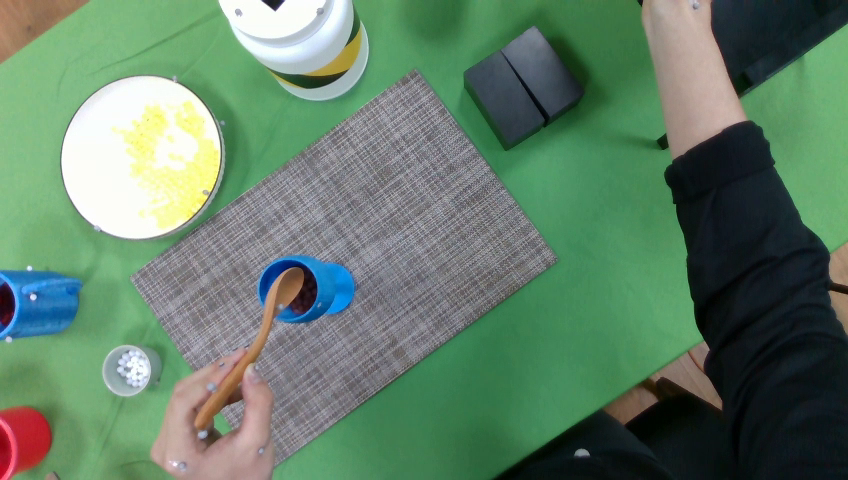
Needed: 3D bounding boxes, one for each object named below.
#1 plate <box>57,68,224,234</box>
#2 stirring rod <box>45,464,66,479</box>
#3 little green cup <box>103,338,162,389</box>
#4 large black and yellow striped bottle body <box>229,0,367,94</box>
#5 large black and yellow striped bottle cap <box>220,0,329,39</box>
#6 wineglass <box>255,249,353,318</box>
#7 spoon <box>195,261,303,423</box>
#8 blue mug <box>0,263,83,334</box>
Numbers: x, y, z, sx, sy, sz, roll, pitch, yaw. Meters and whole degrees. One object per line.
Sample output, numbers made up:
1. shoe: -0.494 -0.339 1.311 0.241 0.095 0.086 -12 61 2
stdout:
1. plate: -0.350 -0.109 0.762 0.209 0.038 0.209 0 88 3
2. stirring rod: -0.378 0.329 0.687 0.014 0.006 0.176 -36 85 2
3. little green cup: -0.359 0.151 0.751 0.061 0.038 0.061 0 88 4
4. large black and yellow striped bottle body: -0.141 -0.253 0.683 0.131 0.184 0.130 0 87 4
5. large black and yellow striped bottle cap: -0.148 -0.257 0.599 0.115 0.019 0.115 0 86 3
6. wineglass: -0.127 0.047 0.670 0.074 0.172 0.073 0 86 4
7. spoon: -0.134 0.074 0.486 0.021 0.192 0.042 14 119 -2
8. blue mug: -0.474 0.063 0.728 0.116 0.106 0.082 -22 86 2
